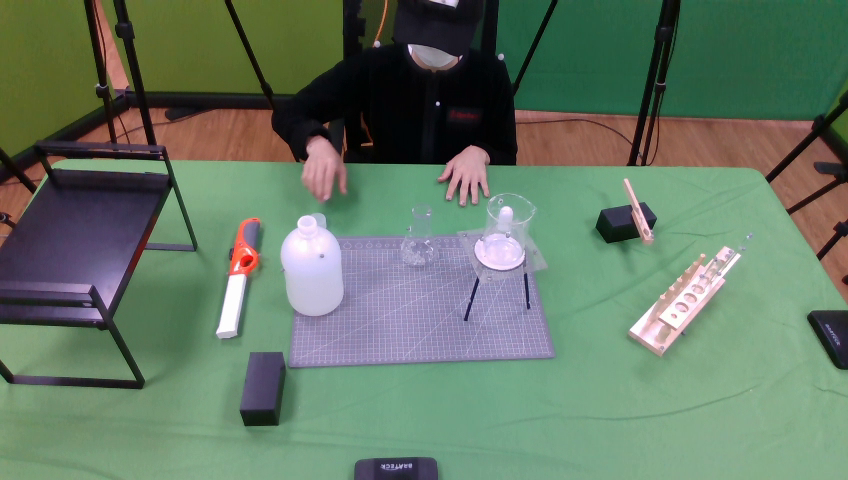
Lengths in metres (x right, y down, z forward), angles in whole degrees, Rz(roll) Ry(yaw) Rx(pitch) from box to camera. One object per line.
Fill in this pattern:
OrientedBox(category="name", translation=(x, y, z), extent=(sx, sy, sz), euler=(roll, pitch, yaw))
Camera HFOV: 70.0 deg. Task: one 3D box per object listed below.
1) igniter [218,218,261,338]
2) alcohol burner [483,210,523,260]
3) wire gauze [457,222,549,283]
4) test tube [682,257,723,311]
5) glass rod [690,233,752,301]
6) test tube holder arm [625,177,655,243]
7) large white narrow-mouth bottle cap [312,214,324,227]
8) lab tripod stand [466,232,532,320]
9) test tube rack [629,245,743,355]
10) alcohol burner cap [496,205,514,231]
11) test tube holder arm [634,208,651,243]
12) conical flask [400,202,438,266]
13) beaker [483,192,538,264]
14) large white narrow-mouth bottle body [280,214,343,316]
OrientedBox(category="igniter", translation=(-0.336, 0.060, 1.111), extent=(0.057, 0.025, 0.274), euler=(-8, 46, 4))
OrientedBox(category="alcohol burner", translation=(0.152, -0.018, 1.156), extent=(0.078, 0.120, 0.077), euler=(0, 47, 0))
OrientedBox(category="wire gauze", translation=(0.131, 0.016, 1.017), extent=(0.121, 0.011, 0.124), euler=(-10, 44, -15))
OrientedBox(category="test tube", translation=(0.475, 0.080, 1.037), extent=(0.017, 0.151, 0.017), euler=(1, 51, -1))
OrientedBox(category="glass rod", translation=(0.507, 0.053, 1.041), extent=(0.008, 0.200, 0.008), euler=(5, 50, -6))
OrientedBox(category="test tube holder arm", translation=(0.433, -0.062, 1.220), extent=(0.013, 0.015, 0.177), euler=(1, 47, -3))
OrientedBox(category="large white narrow-mouth bottle cap", translation=(-0.219, -0.033, 1.214), extent=(0.038, 0.024, 0.037), euler=(2, 46, -2))
OrientedBox(category="lab tripod stand", translation=(0.125, 0.059, 1.065), extent=(0.148, 0.132, 0.147), euler=(1, 45, 0))
OrientedBox(category="test tube rack", translation=(0.474, 0.095, 1.091), extent=(0.242, 0.085, 0.066), euler=(-34, 56, -31))
OrientedBox(category="alcohol burner cap", translation=(0.153, -0.045, 1.131), extent=(0.034, 0.048, 0.033), euler=(2, 40, -1))
OrientedBox(category="test tube holder arm", translation=(0.428, -0.030, 1.189), extent=(0.010, 0.015, 0.087), euler=(1, 47, -2))
OrientedBox(category="conical flask", translation=(-0.007, -0.014, 1.135), extent=(0.075, 0.122, 0.075), euler=(2, 46, -2))
OrientedBox(category="beaker", translation=(0.136, -0.017, 0.980), extent=(0.084, 0.101, 0.073), euler=(-6, 45, -9))
OrientedBox(category="large white narrow-mouth bottle body", translation=(-0.190, 0.035, 1.025), extent=(0.102, 0.195, 0.101), euler=(2, 46, -2))
